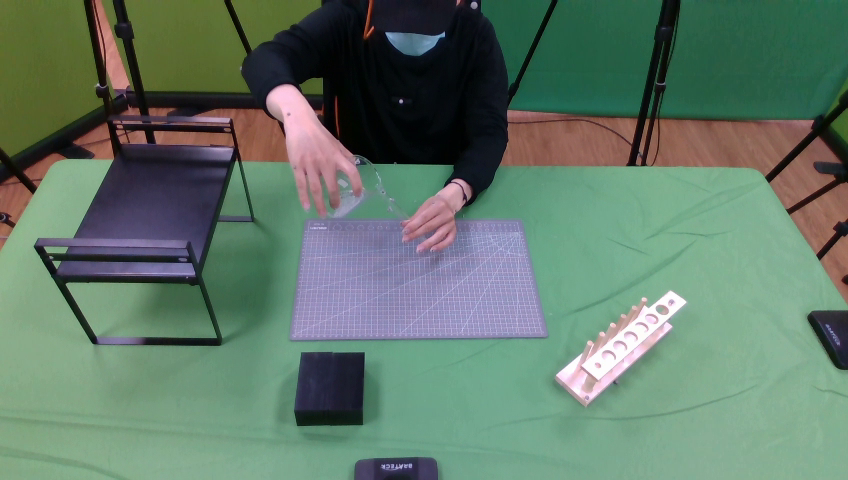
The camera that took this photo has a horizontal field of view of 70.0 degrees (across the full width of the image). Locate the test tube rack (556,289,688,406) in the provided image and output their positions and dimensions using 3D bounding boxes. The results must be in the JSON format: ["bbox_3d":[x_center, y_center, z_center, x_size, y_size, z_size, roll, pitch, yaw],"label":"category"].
[{"bbox_3d":[0.332,0.166,1.014,0.242,0.085,0.066,-30,55,-28],"label":"test tube rack"}]

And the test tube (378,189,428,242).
[{"bbox_3d":[-0.036,-0.042,1.104,0.017,0.151,0.017,-22,44,23],"label":"test tube"}]

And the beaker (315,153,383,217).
[{"bbox_3d":[-0.131,-0.090,1.040,0.084,0.100,0.073,26,44,-34],"label":"beaker"}]
